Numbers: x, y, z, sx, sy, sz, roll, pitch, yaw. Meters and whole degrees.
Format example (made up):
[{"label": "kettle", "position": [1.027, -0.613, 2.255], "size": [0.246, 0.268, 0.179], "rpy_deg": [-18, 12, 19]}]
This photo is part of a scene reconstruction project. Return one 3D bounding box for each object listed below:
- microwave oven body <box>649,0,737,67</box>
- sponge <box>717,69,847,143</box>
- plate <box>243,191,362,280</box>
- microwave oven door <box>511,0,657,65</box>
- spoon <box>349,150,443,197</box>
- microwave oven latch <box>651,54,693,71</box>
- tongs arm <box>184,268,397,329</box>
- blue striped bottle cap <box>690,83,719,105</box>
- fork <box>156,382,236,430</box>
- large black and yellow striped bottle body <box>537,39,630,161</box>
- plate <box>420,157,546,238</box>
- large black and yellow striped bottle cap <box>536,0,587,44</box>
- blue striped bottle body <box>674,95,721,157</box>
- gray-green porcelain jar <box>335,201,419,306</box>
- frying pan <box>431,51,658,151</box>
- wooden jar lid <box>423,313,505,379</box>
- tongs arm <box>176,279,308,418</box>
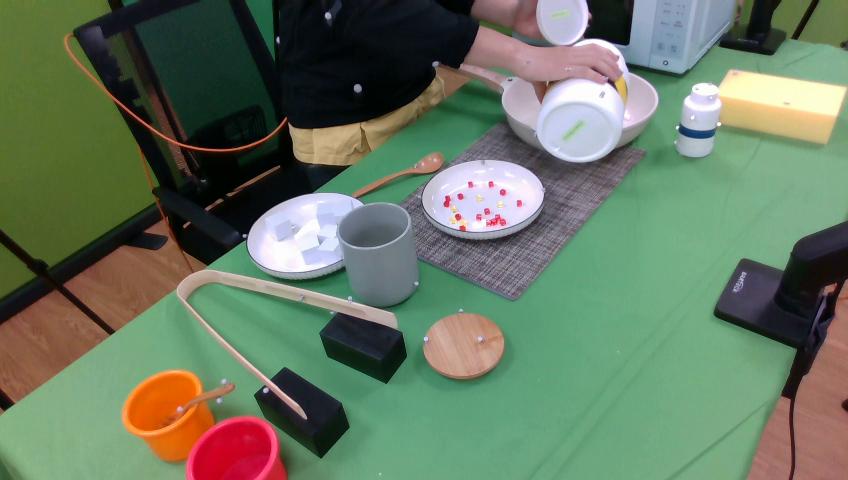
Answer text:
[{"label": "microwave oven body", "position": [0.475, -0.602, 1.411], "size": [0.438, 0.261, 0.327], "rpy_deg": [23, 50, 32]}, {"label": "sponge", "position": [0.663, -0.256, 1.142], "size": [0.205, 0.061, 0.118], "rpy_deg": [19, 47, 28]}, {"label": "plate", "position": [-0.188, -0.005, 0.992], "size": [0.207, 0.039, 0.206], "rpy_deg": [-4, 41, 3]}, {"label": "microwave oven door", "position": [0.352, -0.541, 1.350], "size": [0.353, 0.245, 0.039], "rpy_deg": [24, 51, 31]}, {"label": "spoon", "position": [-0.051, -0.123, 1.120], "size": [0.194, 0.022, 0.041], "rpy_deg": [-23, 59, -18]}, {"label": "microwave oven latch", "position": [0.532, -0.386, 1.301], "size": [0.078, 0.029, 0.030], "rpy_deg": [26, 51, 33]}, {"label": "tongs arm", "position": [-0.202, 0.084, 0.848], "size": [0.382, 0.027, 0.051], "rpy_deg": [11, 44, 35]}, {"label": "blue striped bottle cap", "position": [0.481, -0.251, 1.038], "size": [0.044, 0.021, 0.044], "rpy_deg": [-5, 40, 5]}, {"label": "fork", "position": [-0.262, 0.189, 0.690], "size": [0.018, 0.206, 0.028], "rpy_deg": [48, 43, -7]}, {"label": "large black and yellow striped bottle body", "position": [0.264, -0.232, 0.986], "size": [0.130, 0.131, 0.183], "rpy_deg": [8, 50, 17]}, {"label": "plate", "position": [0.099, -0.067, 1.017], "size": [0.209, 0.038, 0.208], "rpy_deg": [-4, 40, 4]}, {"label": "large black and yellow striped bottle cap", "position": [0.269, -0.446, 1.186], "size": [0.115, 0.115, 0.018], "rpy_deg": [-26, 17, -21]}, {"label": "blue striped bottle body", "position": [0.486, -0.213, 1.072], "size": [0.063, 0.121, 0.063], "rpy_deg": [-4, 41, 4]}, {"label": "gray-green porcelain jar", "position": [-0.064, 0.024, 0.872], "size": [0.106, 0.127, 0.105], "rpy_deg": [-4, 41, 4]}, {"label": "frying pan", "position": [0.216, -0.302, 1.223], "size": [0.484, 0.103, 0.308], "rpy_deg": [29, 50, 24]}, {"label": "wooden jar lid", "position": [0.053, 0.142, 0.800], "size": [0.108, 0.021, 0.108], "rpy_deg": [-5, 39, 4]}, {"label": "tongs arm", "position": [-0.255, 0.132, 0.801], "size": [0.028, 0.028, 0.384], "rpy_deg": [-41, 40, -23]}]
